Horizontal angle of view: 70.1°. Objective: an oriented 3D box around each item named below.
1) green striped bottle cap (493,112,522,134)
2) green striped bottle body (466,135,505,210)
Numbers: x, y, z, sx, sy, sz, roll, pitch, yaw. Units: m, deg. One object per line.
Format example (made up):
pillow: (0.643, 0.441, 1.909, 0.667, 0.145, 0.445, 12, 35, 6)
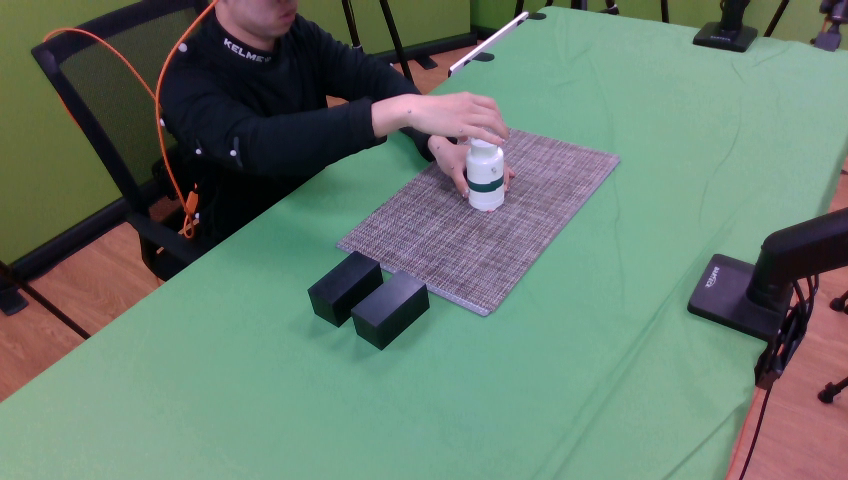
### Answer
green striped bottle cap: (0.131, -0.183, 0.947, 0.044, 0.020, 0.044, 27, 14, -7)
green striped bottle body: (0.102, -0.114, 1.005, 0.063, 0.120, 0.063, -4, 41, 4)
